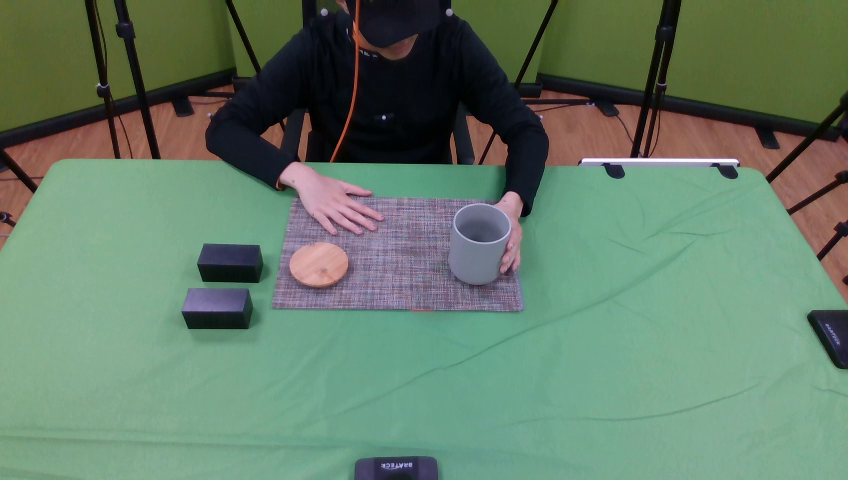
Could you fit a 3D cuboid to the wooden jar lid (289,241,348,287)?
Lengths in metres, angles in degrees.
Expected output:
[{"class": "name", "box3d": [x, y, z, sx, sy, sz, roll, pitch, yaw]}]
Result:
[{"class": "wooden jar lid", "box3d": [-0.196, 0.047, 1.133, 0.108, 0.021, 0.107, 2, 45, -2]}]

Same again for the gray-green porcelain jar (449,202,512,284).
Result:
[{"class": "gray-green porcelain jar", "box3d": [0.101, 0.011, 1.116, 0.106, 0.127, 0.105, 2, 46, -2]}]
